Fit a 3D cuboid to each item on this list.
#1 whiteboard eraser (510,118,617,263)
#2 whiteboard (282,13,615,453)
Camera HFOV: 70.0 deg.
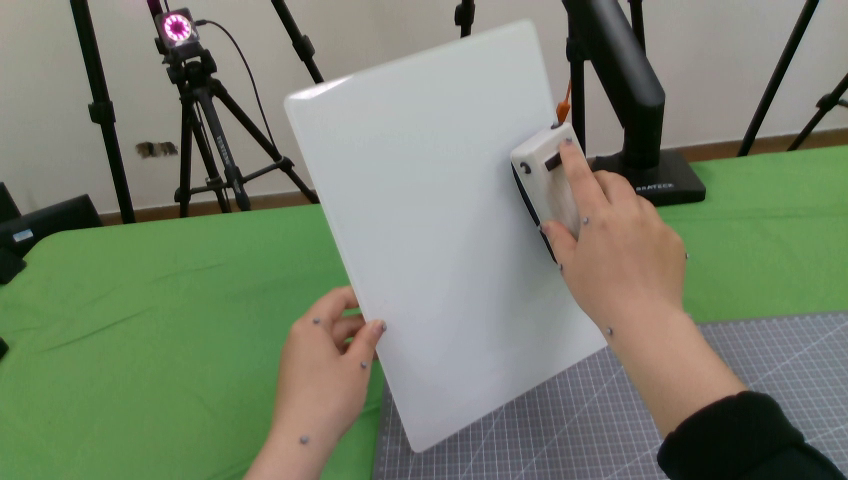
[{"bbox_3d":[0.114,-0.040,0.502,0.055,0.113,0.041,-34,21,-17],"label":"whiteboard eraser"},{"bbox_3d":[0.015,-0.013,0.554,0.217,0.307,0.143,-24,17,-18],"label":"whiteboard"}]
